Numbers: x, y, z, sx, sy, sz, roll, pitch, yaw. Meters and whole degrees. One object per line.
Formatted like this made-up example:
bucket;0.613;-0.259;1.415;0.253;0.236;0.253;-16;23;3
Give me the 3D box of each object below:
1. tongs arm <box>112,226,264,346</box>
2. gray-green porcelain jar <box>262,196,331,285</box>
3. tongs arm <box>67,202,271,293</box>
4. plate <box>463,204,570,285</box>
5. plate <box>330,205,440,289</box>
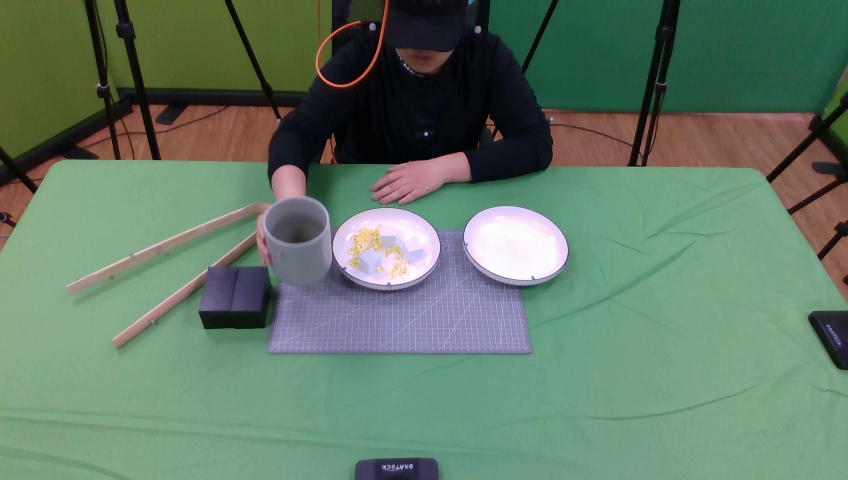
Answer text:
tongs arm;-0.401;0.058;1.109;0.028;0.028;0.387;26;49;23
gray-green porcelain jar;-0.210;0.007;1.014;0.106;0.127;0.105;3;51;-4
tongs arm;-0.461;0.013;1.142;0.385;0.026;0.050;-31;56;-31
plate;0.178;0.012;1.184;0.209;0.038;0.208;3;46;-3
plate;-0.074;0.017;1.160;0.208;0.039;0.206;2;47;-2
